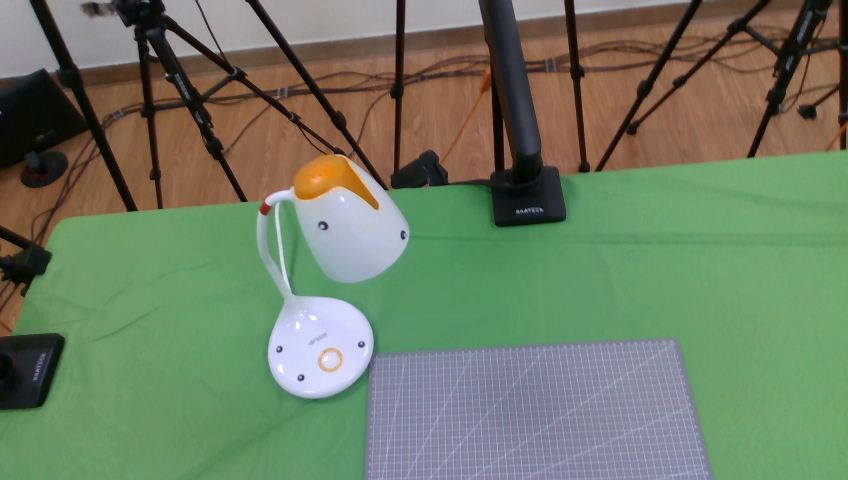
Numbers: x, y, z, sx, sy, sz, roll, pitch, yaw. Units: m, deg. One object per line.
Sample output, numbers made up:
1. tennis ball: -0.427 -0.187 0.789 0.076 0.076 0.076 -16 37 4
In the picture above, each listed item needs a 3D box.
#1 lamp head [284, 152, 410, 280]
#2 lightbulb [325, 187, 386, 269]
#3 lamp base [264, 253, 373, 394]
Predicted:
1. lamp head: -0.090 -0.035 0.655 0.112 0.124 0.111 -18 42 18
2. lightbulb: -0.079 -0.014 0.666 0.059 0.109 0.059 -12 42 11
3. lamp base: -0.173 0.106 0.860 0.160 0.182 0.177 -38 57 -18
